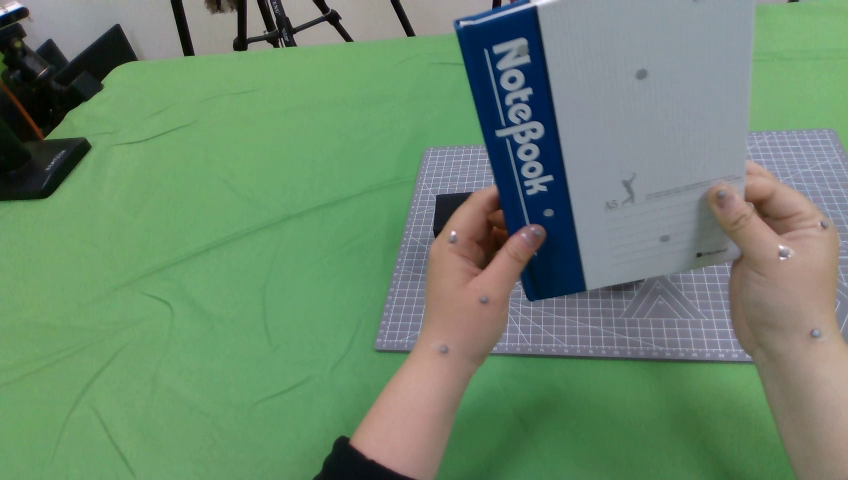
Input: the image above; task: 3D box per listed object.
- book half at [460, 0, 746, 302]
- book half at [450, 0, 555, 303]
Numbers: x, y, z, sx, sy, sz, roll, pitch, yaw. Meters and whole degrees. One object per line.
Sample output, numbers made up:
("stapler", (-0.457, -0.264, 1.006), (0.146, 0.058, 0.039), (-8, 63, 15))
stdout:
("book half", (0.116, -0.047, 0.365), (0.143, 0.212, 0.007), (-13, 38, 10))
("book half", (0.113, -0.053, 0.373), (0.148, 0.212, 0.016), (-15, 38, 6))
